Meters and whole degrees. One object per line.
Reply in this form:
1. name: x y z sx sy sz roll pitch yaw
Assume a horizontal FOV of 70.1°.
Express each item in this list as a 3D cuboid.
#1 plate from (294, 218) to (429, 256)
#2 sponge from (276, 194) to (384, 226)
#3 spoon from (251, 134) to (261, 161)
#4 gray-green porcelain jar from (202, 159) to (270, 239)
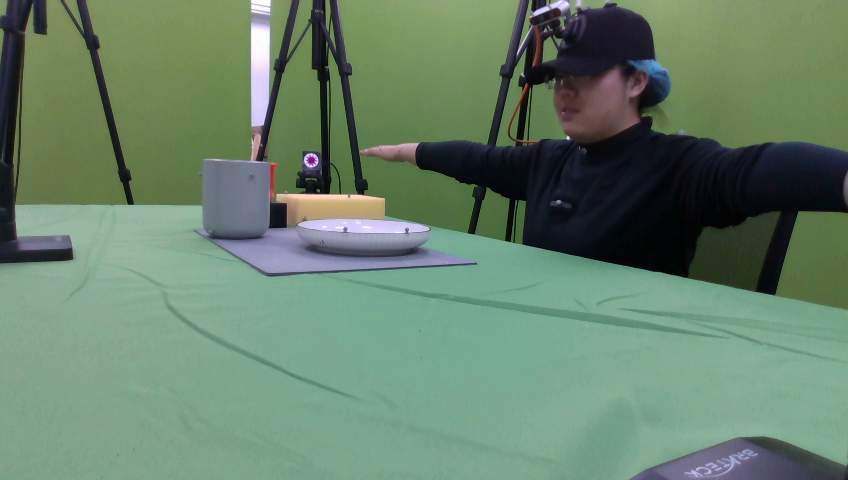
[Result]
1. plate: -0.096 -0.005 0.936 0.208 0.039 0.207 3 7 0
2. sponge: -0.202 -0.067 1.312 0.208 0.061 0.117 -3 9 -35
3. spoon: -0.341 -0.152 1.206 0.042 0.021 0.193 3 51 -7
4. gray-green porcelain jar: -0.310 -0.068 0.999 0.106 0.126 0.106 3 8 0
